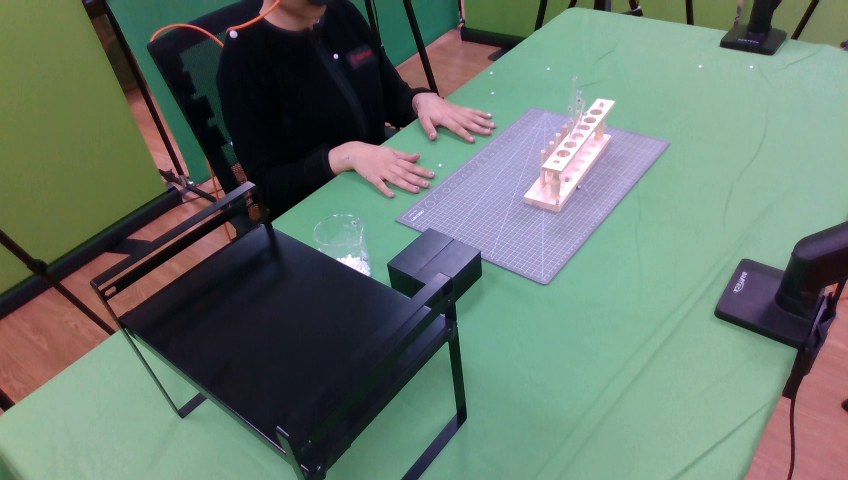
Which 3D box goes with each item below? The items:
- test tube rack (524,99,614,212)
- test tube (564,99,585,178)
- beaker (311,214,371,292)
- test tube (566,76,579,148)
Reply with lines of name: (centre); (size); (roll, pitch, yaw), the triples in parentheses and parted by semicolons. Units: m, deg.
test tube rack: (0.259, -0.158, 1.069); (0.066, 0.085, 0.243); (19, 47, 28)
test tube: (0.248, -0.164, 1.001); (0.017, 0.151, 0.017); (-1, 42, 1)
beaker: (-0.118, 0.022, 0.908); (0.083, 0.101, 0.074); (26, 51, 32)
test tube: (0.261, -0.221, 1.073); (0.017, 0.151, 0.017); (-4, 41, 4)
